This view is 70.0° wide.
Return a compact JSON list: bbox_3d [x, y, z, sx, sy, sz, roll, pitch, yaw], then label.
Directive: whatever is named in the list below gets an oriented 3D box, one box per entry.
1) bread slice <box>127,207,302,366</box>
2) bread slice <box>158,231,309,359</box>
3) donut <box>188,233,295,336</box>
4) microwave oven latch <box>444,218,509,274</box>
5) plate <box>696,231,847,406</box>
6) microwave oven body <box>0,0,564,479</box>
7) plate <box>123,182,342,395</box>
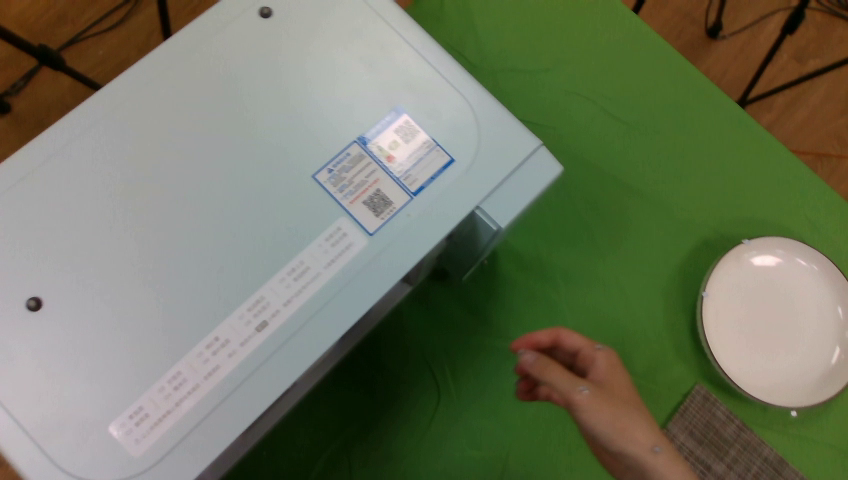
[{"bbox_3d":[-0.182,0.032,0.555,0.134,0.018,0.107,-36,91,-19],"label":"bread slice"},{"bbox_3d":[-0.196,0.059,0.617,0.131,0.019,0.104,-30,83,-32],"label":"bread slice"},{"bbox_3d":[-0.173,0.042,0.578,0.099,0.048,0.098,5,76,-18],"label":"donut"},{"bbox_3d":[0.060,0.004,0.693,0.079,0.029,0.030,-38,83,-12],"label":"microwave oven latch"},{"bbox_3d":[0.423,0.093,0.729,0.208,0.039,0.206,2,76,-6],"label":"plate"},{"bbox_3d":[-0.160,0.000,0.571,0.325,0.261,0.441,44,77,5],"label":"microwave oven body"},{"bbox_3d":[-0.186,0.047,0.605,0.209,0.038,0.208,1,80,-7],"label":"plate"}]
